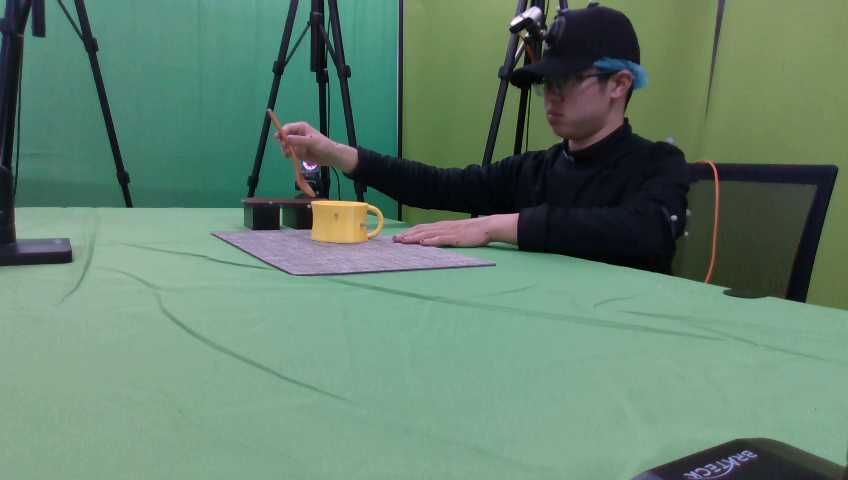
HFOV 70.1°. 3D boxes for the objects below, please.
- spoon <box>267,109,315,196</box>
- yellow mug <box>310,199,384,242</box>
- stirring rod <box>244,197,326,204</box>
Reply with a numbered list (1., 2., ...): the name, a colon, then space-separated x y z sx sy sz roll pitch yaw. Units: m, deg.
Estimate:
1. spoon: -0.269 -0.175 1.223 0.021 0.194 0.041 -18 14 15
2. yellow mug: -0.132 -0.035 1.054 0.131 0.064 0.099 0 7 -23
3. stirring rod: -0.270 -0.078 1.201 0.177 0.006 0.014 -2 43 -37
